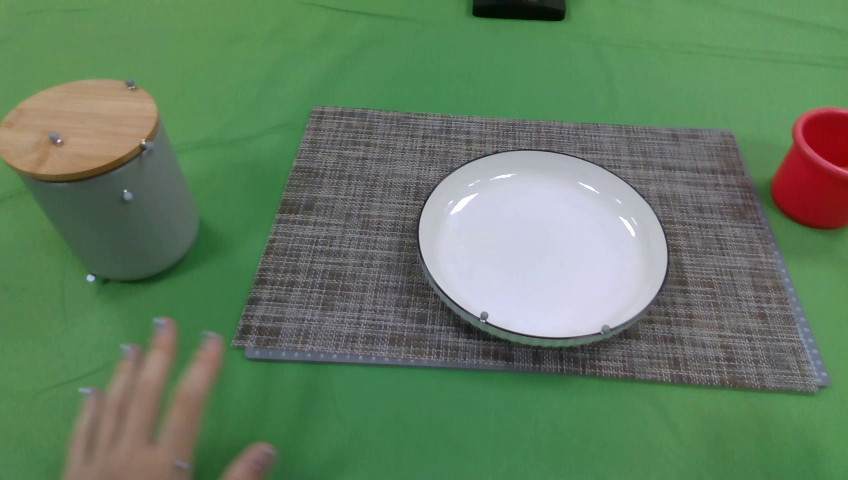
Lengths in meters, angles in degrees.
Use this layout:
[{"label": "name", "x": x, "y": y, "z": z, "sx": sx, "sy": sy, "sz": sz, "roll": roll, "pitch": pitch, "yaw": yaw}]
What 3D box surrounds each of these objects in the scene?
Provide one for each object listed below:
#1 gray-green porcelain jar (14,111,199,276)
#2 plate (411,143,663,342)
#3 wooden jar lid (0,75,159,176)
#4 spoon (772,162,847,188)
[{"label": "gray-green porcelain jar", "x": -0.248, "y": -0.041, "z": 0.491, "sx": 0.106, "sy": 0.127, "sz": 0.105, "roll": 1, "pitch": 51, "yaw": -1}, {"label": "plate", "x": 0.093, "y": 0.001, "z": 0.517, "sx": 0.208, "sy": 0.039, "sz": 0.205, "roll": 1, "pitch": 51, "yaw": -1}, {"label": "wooden jar lid", "x": -0.249, "y": -0.081, "z": 0.441, "sx": 0.108, "sy": 0.021, "sz": 0.107, "roll": 3, "pitch": 50, "yaw": -3}, {"label": "spoon", "x": 0.398, "y": -0.067, "z": 0.513, "sx": 0.041, "sy": 0.022, "sz": 0.193, "roll": -42, "pitch": 18, "yaw": -29}]
